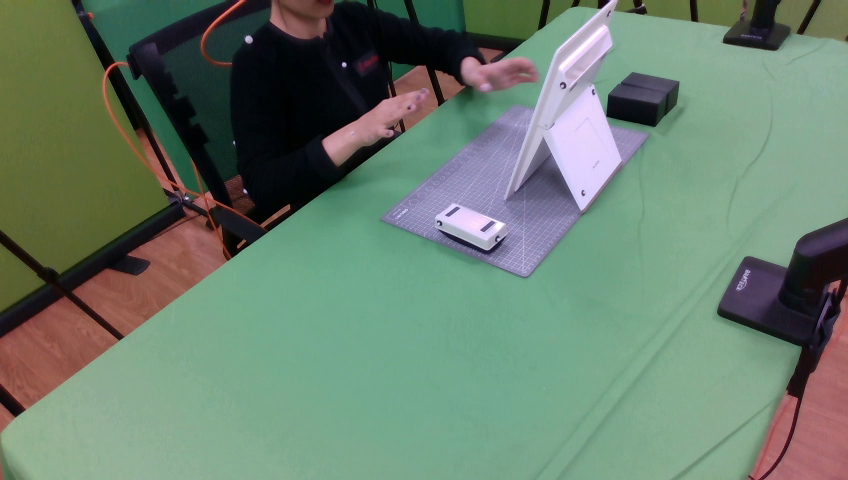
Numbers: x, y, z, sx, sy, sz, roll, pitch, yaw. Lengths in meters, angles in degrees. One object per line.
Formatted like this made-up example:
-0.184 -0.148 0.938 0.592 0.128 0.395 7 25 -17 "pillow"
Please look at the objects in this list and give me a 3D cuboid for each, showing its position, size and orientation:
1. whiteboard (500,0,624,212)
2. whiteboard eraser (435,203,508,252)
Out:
0.271 -0.189 0.977 0.143 0.306 0.218 34 54 16 "whiteboard"
0.075 -0.019 0.970 0.112 0.042 0.056 25 51 34 "whiteboard eraser"
